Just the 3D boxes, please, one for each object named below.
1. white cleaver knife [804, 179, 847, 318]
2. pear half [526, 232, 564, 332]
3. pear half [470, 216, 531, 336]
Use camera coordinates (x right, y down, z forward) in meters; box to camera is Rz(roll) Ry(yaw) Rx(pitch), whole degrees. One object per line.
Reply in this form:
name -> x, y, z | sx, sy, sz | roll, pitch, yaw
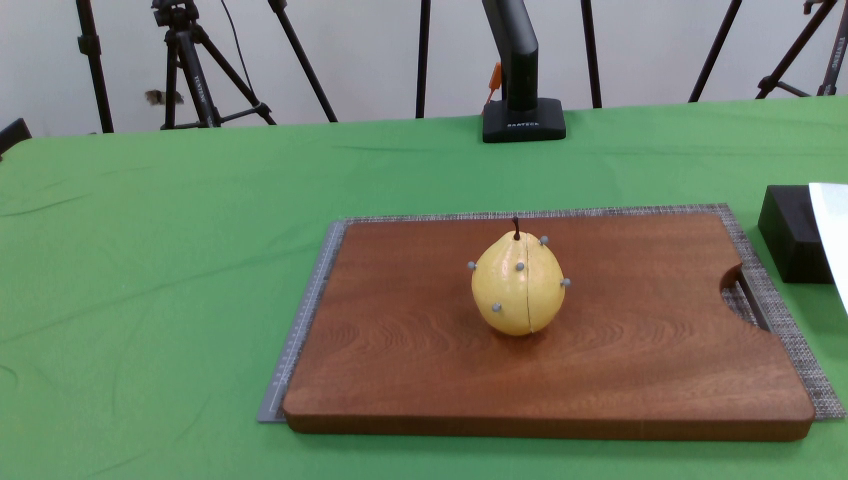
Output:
white cleaver knife -> 0.381, 0.048, 0.508 | 0.065, 0.022, 0.284 | -1, 47, 14
pear half -> 0.101, 0.034, 0.508 | 0.031, 0.088, 0.070 | -1, 28, 8
pear half -> 0.065, 0.026, 0.509 | 0.056, 0.111, 0.076 | -1, 32, 8
